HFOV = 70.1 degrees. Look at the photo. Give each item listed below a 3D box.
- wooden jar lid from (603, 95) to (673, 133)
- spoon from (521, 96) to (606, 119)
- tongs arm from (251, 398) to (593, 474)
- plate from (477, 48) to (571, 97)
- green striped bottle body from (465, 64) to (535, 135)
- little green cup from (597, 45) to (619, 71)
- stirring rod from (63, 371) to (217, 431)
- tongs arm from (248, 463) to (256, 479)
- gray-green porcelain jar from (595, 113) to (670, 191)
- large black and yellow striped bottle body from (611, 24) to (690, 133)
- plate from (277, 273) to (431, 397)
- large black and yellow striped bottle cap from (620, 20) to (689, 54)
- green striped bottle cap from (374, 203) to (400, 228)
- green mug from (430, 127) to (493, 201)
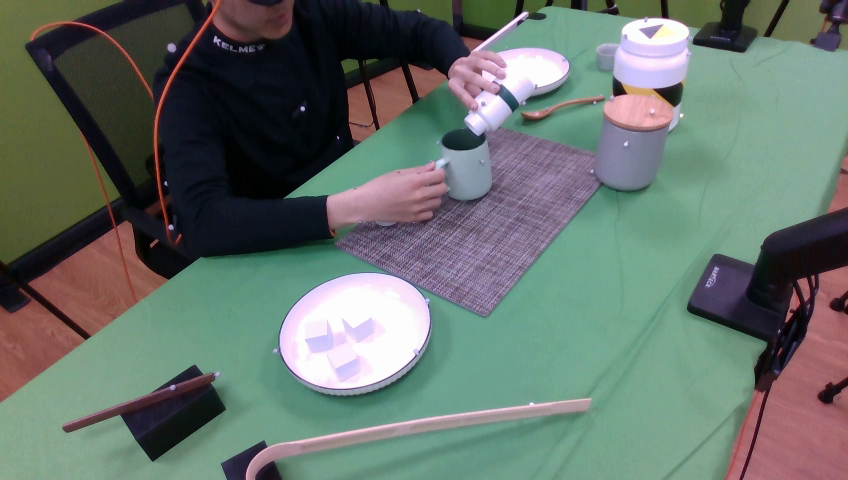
[{"bbox_3d":[0.343,-0.200,0.974,0.108,0.021,0.108,-2,39,2],"label":"wooden jar lid"},{"bbox_3d":[0.291,-0.277,1.249,0.194,0.022,0.041,-18,22,-11],"label":"spoon"},{"bbox_3d":[0.008,0.212,0.675,0.389,0.028,0.028,-5,46,-11],"label":"tongs arm"},{"bbox_3d":[0.223,-0.371,1.357,0.209,0.038,0.208,-4,41,4],"label":"plate"},{"bbox_3d":[0.122,-0.230,1.007,0.119,0.064,0.062,-44,46,1],"label":"green striped bottle body"},{"bbox_3d":[0.423,-0.413,1.376,0.061,0.039,0.061,-4,41,4],"label":"little green cup"},{"bbox_3d":[-0.337,0.192,0.723,0.177,0.014,0.005,-18,43,-12],"label":"stirring rod"},{"bbox_3d":[0.012,0.262,0.615,0.385,0.026,0.050,2,41,-2],"label":"tongs arm"},{"bbox_3d":[0.346,-0.155,1.017,0.106,0.127,0.105,-2,44,2],"label":"gray-green porcelain jar"},{"bbox_3d":[0.420,-0.299,1.132,0.131,0.185,0.130,-5,40,4],"label":"large black and yellow striped bottle body"},{"bbox_3d":[-0.091,0.129,0.821,0.207,0.039,0.206,-4,40,4],"label":"plate"},{"bbox_3d":[0.411,-0.363,1.079,0.115,0.019,0.114,-3,42,4],"label":"large black and yellow striped bottle cap"},{"bbox_3d":[-0.063,-0.042,1.030,0.044,0.020,0.044,-2,45,2],"label":"green striped bottle cap"},{"bbox_3d":[0.059,-0.122,1.034,0.126,0.105,0.091,-35,48,-28],"label":"green mug"}]
